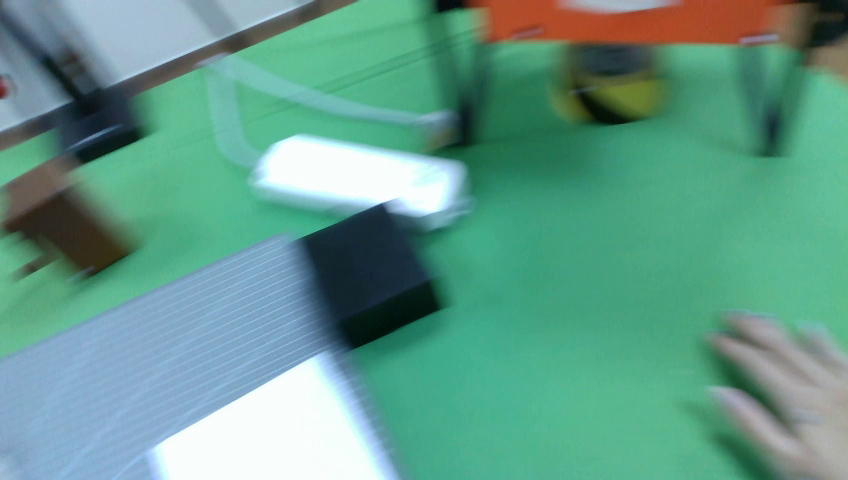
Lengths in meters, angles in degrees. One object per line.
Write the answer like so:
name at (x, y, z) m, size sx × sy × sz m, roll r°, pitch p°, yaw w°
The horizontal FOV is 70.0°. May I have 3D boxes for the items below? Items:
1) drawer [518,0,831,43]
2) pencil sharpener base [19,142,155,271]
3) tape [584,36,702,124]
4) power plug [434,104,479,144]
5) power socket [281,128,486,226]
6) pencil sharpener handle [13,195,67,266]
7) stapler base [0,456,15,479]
drawer at (0.185, -0.238, 0.446) m, size 0.193 × 0.074 × 0.210 m, roll 8°, pitch 54°, yaw 18°
pencil sharpener base at (-0.337, -0.030, 0.609) m, size 0.076 × 0.108 × 0.060 m, roll -34°, pitch 54°, yaw -13°
tape at (0.229, -0.182, 0.641) m, size 0.117 × 0.053 × 0.115 m, roll -5°, pitch 54°, yaw 8°
power plug at (0.031, -0.121, 0.660) m, size 0.072 × 0.035 × 0.052 m, roll -13°, pitch 33°, yaw 53°
power socket at (-0.046, -0.068, 0.624) m, size 0.225 × 0.033 × 0.072 m, roll 14°, pitch 57°, yaw 22°
pencil sharpener handle at (-0.377, -0.007, 0.583) m, size 0.030 × 0.068 × 0.035 m, roll -34°, pitch 32°, yaw -13°
stapler base at (-0.393, 0.223, 0.477) m, size 0.130 × 0.025 × 0.041 m, roll -41°, pitch 55°, yaw -17°
